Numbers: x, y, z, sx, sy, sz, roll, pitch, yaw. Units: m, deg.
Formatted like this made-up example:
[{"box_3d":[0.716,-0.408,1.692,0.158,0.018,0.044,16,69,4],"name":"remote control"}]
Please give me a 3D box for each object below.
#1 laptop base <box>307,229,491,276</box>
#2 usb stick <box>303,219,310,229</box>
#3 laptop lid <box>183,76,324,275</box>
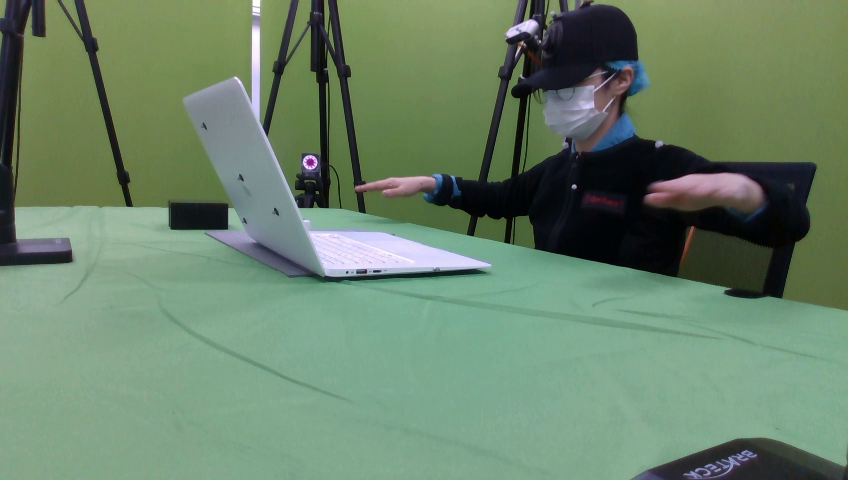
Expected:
[{"box_3d":[-0.094,0.015,0.888,0.237,0.023,0.352,2,7,-30],"name":"laptop base"},{"box_3d":[-0.238,-0.024,1.101,0.021,0.027,0.059,10,13,39],"name":"usb stick"},{"box_3d":[-0.237,-0.085,0.791,0.013,0.242,0.355,-29,22,-23],"name":"laptop lid"}]
